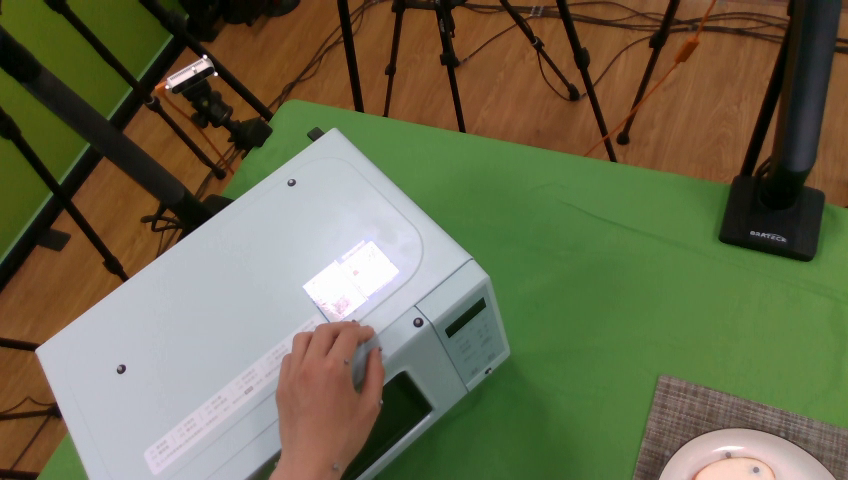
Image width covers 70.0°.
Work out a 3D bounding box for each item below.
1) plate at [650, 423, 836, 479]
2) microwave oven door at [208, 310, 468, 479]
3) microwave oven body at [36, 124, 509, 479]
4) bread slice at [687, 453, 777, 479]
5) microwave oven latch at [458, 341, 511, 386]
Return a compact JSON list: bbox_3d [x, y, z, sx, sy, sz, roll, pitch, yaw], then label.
[{"bbox_3d":[0.350,0.308,0.659,0.207,0.039,0.206,-6,59,10],"label":"plate"},{"bbox_3d":[-0.112,0.241,0.677,0.355,0.246,0.039,-39,58,-10],"label":"microwave oven door"},{"bbox_3d":[-0.168,0.129,0.762,0.441,0.263,0.322,-40,59,-9],"label":"microwave oven body"},{"bbox_3d":[0.350,0.302,0.664,0.105,0.019,0.130,-12,58,6],"label":"bread slice"},{"bbox_3d":[0.079,0.156,0.799,0.079,0.030,0.030,-38,59,-8],"label":"microwave oven latch"}]
